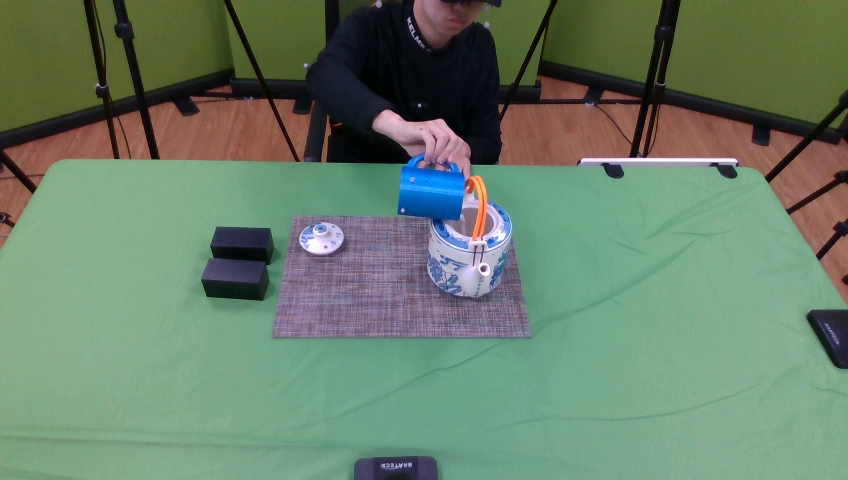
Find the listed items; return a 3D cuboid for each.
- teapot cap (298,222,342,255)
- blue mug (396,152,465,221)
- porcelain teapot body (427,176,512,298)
[{"bbox_3d":[-0.201,-0.008,1.171,0.085,0.044,0.084,1,48,-1],"label":"teapot cap"},{"bbox_3d":[0.011,-0.094,1.017,0.106,0.082,0.116,6,76,-3],"label":"blue mug"},{"bbox_3d":[0.085,0.009,1.051,0.145,0.226,0.204,-5,47,-8],"label":"porcelain teapot body"}]
